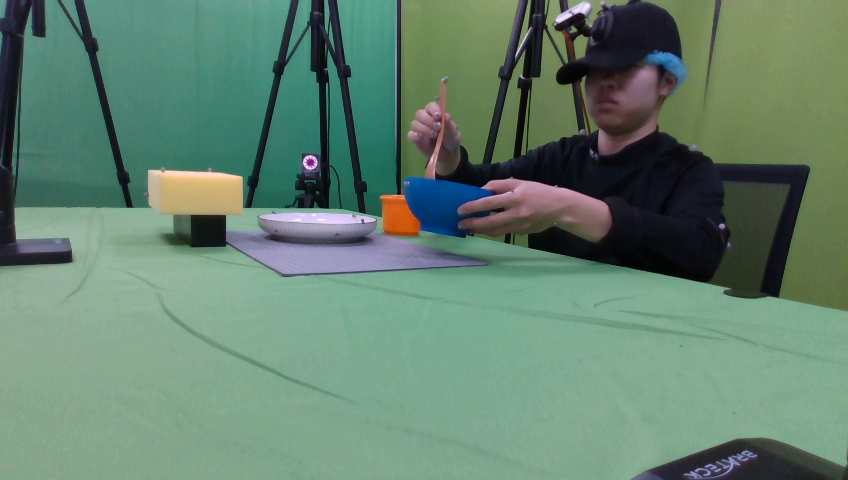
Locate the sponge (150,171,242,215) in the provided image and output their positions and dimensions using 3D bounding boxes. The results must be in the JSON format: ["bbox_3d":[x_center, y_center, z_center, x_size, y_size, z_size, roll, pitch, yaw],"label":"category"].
[{"bbox_3d":[-0.379,-0.079,0.994,0.119,0.061,0.206,-1,8,-29],"label":"sponge"}]

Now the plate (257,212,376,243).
[{"bbox_3d":[-0.189,-0.023,1.072,0.209,0.038,0.209,3,7,0],"label":"plate"}]

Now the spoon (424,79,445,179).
[{"bbox_3d":[0.020,-0.158,0.948,0.022,0.193,0.041,11,-9,-13],"label":"spoon"}]

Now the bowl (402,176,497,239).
[{"bbox_3d":[0.033,-0.046,0.937,0.151,0.077,0.151,11,1,0],"label":"bowl"}]
